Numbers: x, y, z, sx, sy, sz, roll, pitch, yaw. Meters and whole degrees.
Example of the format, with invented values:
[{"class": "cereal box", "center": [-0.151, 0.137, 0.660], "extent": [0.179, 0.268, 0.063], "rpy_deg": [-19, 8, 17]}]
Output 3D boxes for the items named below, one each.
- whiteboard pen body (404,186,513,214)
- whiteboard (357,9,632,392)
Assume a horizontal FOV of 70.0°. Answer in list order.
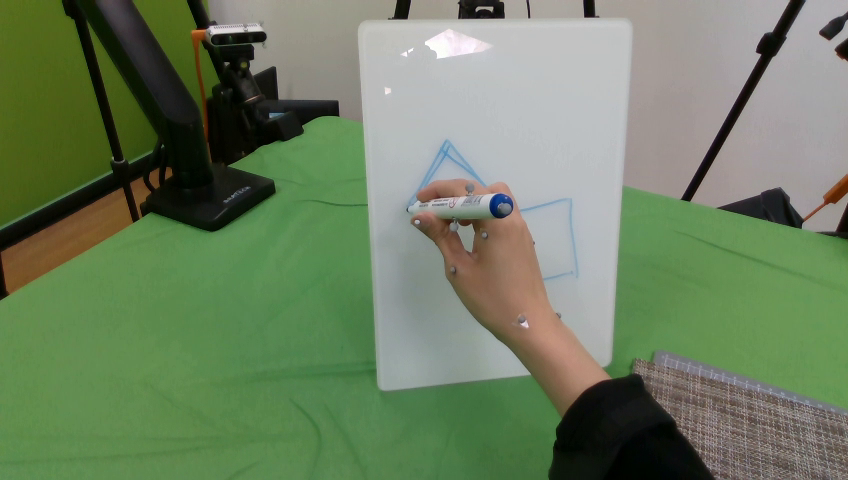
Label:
[{"class": "whiteboard pen body", "center": [0.017, -0.026, 0.418], "extent": [0.017, 0.017, 0.140], "rpy_deg": [-17, 9, -25]}, {"class": "whiteboard", "center": [0.051, -0.042, 0.560], "extent": [0.218, 0.307, 0.143], "rpy_deg": [-4, 16, -9]}]
